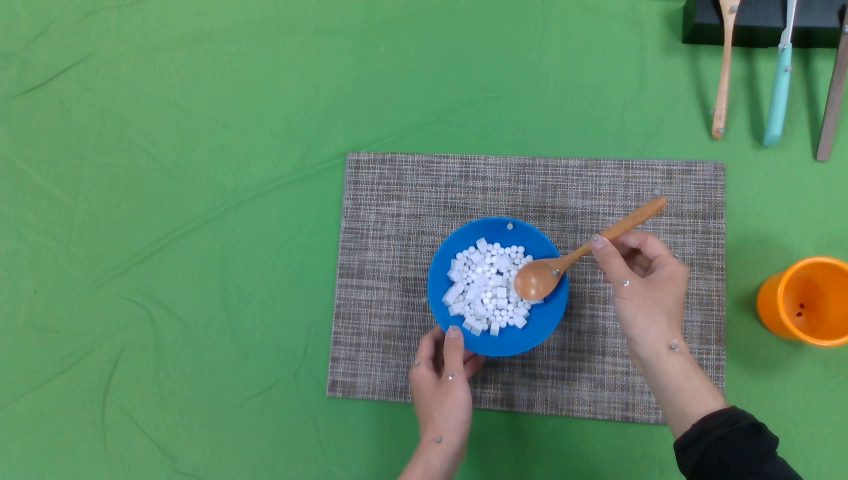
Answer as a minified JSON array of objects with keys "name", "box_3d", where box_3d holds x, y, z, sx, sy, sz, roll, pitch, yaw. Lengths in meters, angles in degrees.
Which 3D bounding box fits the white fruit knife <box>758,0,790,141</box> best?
[{"name":"white fruit knife","box_3d":[0.398,-0.217,0.678,0.016,0.027,0.208,4,99,4]}]

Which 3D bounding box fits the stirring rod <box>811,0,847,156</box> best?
[{"name":"stirring rod","box_3d":[0.459,-0.183,0.678,0.014,0.006,0.176,5,102,5]}]

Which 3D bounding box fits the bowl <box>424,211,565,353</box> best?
[{"name":"bowl","box_3d":[0.078,0.049,0.676,0.151,0.077,0.151,-1,82,6]}]

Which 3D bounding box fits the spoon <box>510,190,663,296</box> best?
[{"name":"spoon","box_3d":[0.156,0.006,0.602,0.022,0.194,0.041,-21,77,-43]}]

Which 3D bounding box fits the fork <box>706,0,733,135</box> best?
[{"name":"fork","box_3d":[0.337,-0.224,0.687,0.028,0.018,0.208,1,102,5]}]
